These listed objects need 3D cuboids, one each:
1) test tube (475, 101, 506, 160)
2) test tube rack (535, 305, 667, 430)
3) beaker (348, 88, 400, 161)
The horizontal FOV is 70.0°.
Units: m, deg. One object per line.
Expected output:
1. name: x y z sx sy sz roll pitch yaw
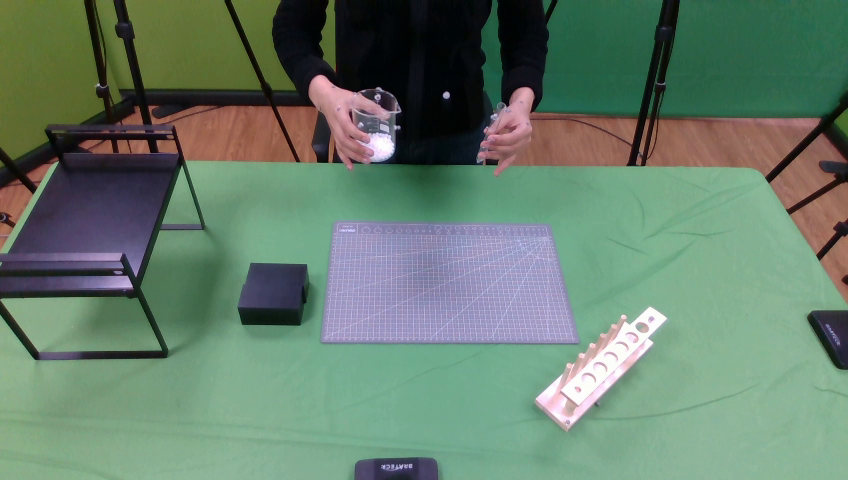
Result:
1. test tube: 0.109 -0.179 1.009 0.017 0.150 0.017 4 64 -8
2. test tube rack: 0.290 0.193 0.984 0.242 0.085 0.066 -32 56 -30
3. beaker: -0.080 -0.186 0.995 0.084 0.101 0.073 13 49 8
